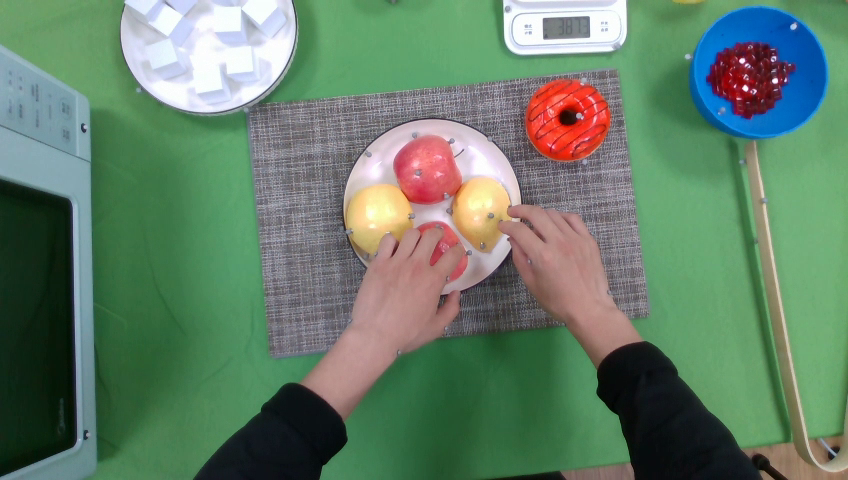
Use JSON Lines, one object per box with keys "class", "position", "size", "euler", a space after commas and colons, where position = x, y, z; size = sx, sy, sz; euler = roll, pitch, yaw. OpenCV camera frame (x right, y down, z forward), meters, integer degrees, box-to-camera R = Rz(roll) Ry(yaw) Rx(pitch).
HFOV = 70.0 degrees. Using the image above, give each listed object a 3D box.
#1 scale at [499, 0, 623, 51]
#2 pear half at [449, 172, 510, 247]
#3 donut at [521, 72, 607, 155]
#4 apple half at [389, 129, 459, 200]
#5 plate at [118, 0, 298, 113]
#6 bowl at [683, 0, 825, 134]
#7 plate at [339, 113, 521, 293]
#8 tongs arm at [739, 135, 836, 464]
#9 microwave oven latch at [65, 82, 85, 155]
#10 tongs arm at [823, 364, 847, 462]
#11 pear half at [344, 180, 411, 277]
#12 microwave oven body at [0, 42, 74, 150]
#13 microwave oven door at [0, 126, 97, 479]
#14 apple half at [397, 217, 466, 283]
{"class": "scale", "position": [0.164, -0.333, 0.733], "size": [0.149, 0.031, 0.200], "euler": [-2, 86, 0]}
{"class": "pear half", "position": [0.062, -0.037, 0.698], "size": [0.070, 0.031, 0.087], "euler": [-6, 83, 12]}
{"class": "donut", "position": [0.163, -0.148, 0.710], "size": [0.099, 0.048, 0.099], "euler": [0, 87, 2]}
{"class": "apple half", "position": [-0.001, -0.087, 0.690], "size": [0.074, 0.053, 0.080], "euler": [-18, 89, 1]}
{"class": "plate", "position": [-0.252, -0.249, 0.721], "size": [0.208, 0.039, 0.207], "euler": [0, 86, 0]}
{"class": "bowl", "position": [0.365, -0.189, 0.702], "size": [0.151, 0.077, 0.151], "euler": [0, 87, 0]}
{"class": "plate", "position": [0.007, -0.042, 0.704], "size": [0.209, 0.038, 0.208], "euler": [0, 86, 0]}
{"class": "tongs arm", "position": [0.422, 0.066, 0.706], "size": [0.051, 0.026, 0.384], "euler": [-6, 87, -6]}
{"class": "microwave oven latch", "position": [-0.408, -0.138, 0.693], "size": [0.030, 0.029, 0.079], "euler": [-2, 86, -1]}
{"class": "tongs arm", "position": [0.508, 0.065, 0.712], "size": [0.028, 0.028, 0.386], "euler": [9, 86, -8]}
{"class": "pear half", "position": [-0.049, -0.013, 0.680], "size": [0.076, 0.056, 0.109], "euler": [-12, 88, -10]}
{"class": "microwave oven body", "position": [-0.544, 0.039, 0.583], "size": [0.326, 0.260, 0.440], "euler": [-4, 86, -1]}
{"class": "microwave oven door", "position": [-0.396, 0.072, 0.576], "size": [0.039, 0.244, 0.355], "euler": [-4, 85, -1]}
{"class": "apple half", "position": [0.007, 0.011, 0.693], "size": [0.081, 0.033, 0.081], "euler": [0, 79, 3]}
